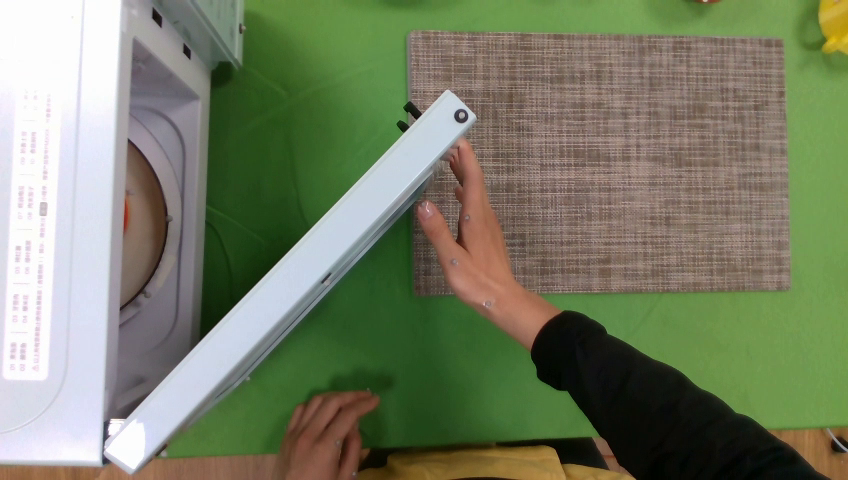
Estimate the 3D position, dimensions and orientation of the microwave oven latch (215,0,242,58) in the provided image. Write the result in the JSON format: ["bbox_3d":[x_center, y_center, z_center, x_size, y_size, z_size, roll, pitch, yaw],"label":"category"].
[{"bbox_3d":[-0.209,-0.237,0.640,0.030,0.029,0.079,6,89,-5],"label":"microwave oven latch"}]

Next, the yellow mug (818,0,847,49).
[{"bbox_3d":[0.518,-0.271,0.705,0.131,0.064,0.100,-43,93,-3],"label":"yellow mug"}]

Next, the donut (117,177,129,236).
[{"bbox_3d":[-0.331,-0.033,0.574,0.099,0.048,0.099,0,95,-4],"label":"donut"}]

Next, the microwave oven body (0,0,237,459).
[{"bbox_3d":[-0.355,-0.068,0.530,0.326,0.260,0.441,2,90,-5],"label":"microwave oven body"}]

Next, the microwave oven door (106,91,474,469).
[{"bbox_3d":[-0.101,0.028,0.545,0.039,0.243,0.355,43,86,-1],"label":"microwave oven door"}]

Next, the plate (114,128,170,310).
[{"bbox_3d":[-0.349,-0.022,0.580,0.209,0.038,0.209,0,90,-6],"label":"plate"}]
